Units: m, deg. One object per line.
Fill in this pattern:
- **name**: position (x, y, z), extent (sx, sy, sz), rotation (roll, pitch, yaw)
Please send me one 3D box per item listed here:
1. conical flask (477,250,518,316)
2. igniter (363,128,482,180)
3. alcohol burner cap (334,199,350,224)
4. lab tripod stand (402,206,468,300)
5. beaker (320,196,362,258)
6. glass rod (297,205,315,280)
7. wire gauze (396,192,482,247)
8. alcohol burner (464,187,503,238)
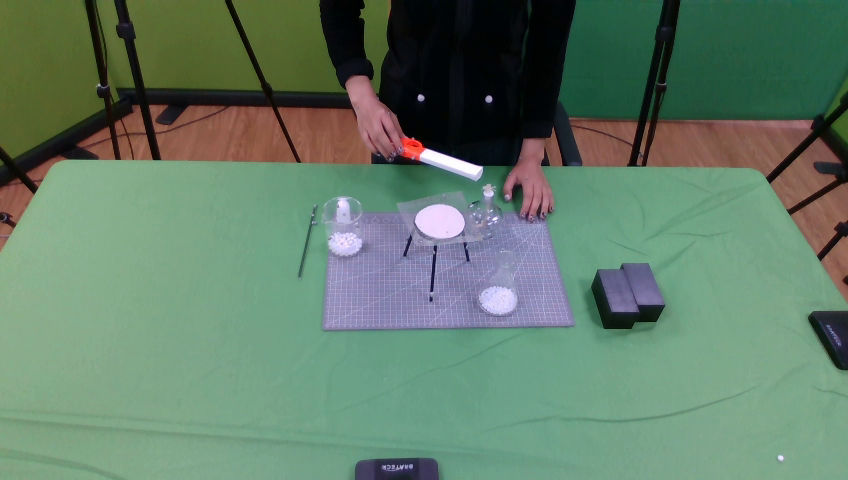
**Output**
- **conical flask**: position (0.136, 0.072, 1.067), extent (0.075, 0.122, 0.075), rotation (2, 46, -2)
- **igniter**: position (-0.011, -0.173, 1.204), extent (0.275, 0.025, 0.057), rotation (23, 49, 25)
- **alcohol burner cap**: position (-0.167, -0.061, 1.228), extent (0.034, 0.048, 0.033), rotation (2, 46, -2)
- **lab tripod stand**: position (0.023, 0.013, 1.108), extent (0.148, 0.132, 0.147), rotation (3, 44, -2)
- **beaker**: position (-0.156, -0.020, 1.150), extent (0.084, 0.101, 0.073), rotation (-30, 55, -28)
- **glass rod**: position (-0.232, 0.001, 1.191), extent (0.008, 0.008, 0.198), rotation (2, 46, -1)
- **wire gauze**: position (0.025, -0.036, 1.061), extent (0.125, 0.011, 0.120), rotation (-9, 47, -14)
- **alcohol burner**: position (0.120, -0.061, 1.201), extent (0.078, 0.119, 0.077), rotation (3, 47, -3)
